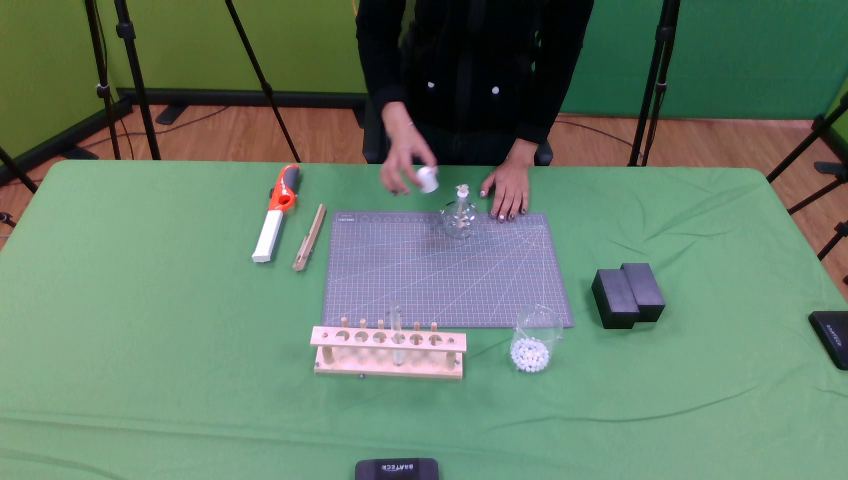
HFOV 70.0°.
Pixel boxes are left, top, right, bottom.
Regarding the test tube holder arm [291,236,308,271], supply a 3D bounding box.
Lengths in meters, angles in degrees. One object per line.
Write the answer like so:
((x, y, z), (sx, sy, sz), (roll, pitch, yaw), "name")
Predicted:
((-0.234, 0.024, 1.163), (0.010, 0.015, 0.087), (-18, 37, 29), "test tube holder arm")

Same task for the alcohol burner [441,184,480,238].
((0.073, -0.061, 1.195), (0.078, 0.120, 0.077), (1, 47, -1), "alcohol burner")

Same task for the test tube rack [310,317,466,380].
((-0.056, 0.171, 0.986), (0.242, 0.085, 0.066), (3, 45, -1), "test tube rack")

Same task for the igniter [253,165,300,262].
((-0.298, -0.063, 1.234), (0.057, 0.025, 0.275), (-2, 46, 7), "igniter")

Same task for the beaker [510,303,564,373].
((0.182, 0.164, 1.000), (0.074, 0.101, 0.083), (2, 46, -1), "beaker")

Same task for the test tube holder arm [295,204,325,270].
((-0.222, -0.008, 1.192), (0.013, 0.015, 0.177), (-19, 37, 28), "test tube holder arm")

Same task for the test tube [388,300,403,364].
((-0.044, 0.146, 0.942), (0.017, 0.151, 0.017), (-1, 44, 1), "test tube")

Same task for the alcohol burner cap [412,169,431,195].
((-0.006, -0.110, 1.119), (0.034, 0.048, 0.033), (-7, 47, 7), "alcohol burner cap")
